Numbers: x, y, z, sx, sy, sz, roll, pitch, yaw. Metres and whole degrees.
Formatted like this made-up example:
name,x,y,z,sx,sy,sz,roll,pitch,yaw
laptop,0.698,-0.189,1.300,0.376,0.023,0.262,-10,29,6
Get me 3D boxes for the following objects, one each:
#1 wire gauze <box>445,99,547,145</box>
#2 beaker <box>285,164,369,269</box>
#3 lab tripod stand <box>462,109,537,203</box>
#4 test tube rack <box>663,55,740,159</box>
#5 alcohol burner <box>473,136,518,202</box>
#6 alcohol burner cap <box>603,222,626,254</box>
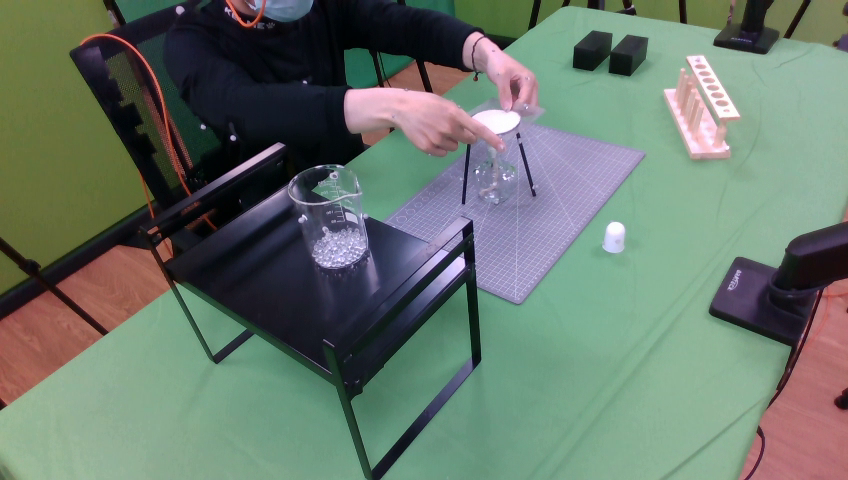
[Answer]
name,x,y,z,sx,sy,sz,roll,pitch,yaw
wire gauze,0.114,-0.195,0.969,0.122,0.011,0.124,-33,40,-28
beaker,-0.101,-0.024,0.676,0.083,0.101,0.074,8,43,17
lab tripod stand,0.117,-0.144,1.014,0.148,0.132,0.147,-6,37,5
test tube rack,0.518,-0.256,1.144,0.066,0.085,0.241,-1,41,8
alcohol burner,0.121,-0.125,1.023,0.078,0.119,0.077,-3,42,3
alcohol burner cap,0.291,-0.006,0.921,0.034,0.048,0.033,-4,40,4
